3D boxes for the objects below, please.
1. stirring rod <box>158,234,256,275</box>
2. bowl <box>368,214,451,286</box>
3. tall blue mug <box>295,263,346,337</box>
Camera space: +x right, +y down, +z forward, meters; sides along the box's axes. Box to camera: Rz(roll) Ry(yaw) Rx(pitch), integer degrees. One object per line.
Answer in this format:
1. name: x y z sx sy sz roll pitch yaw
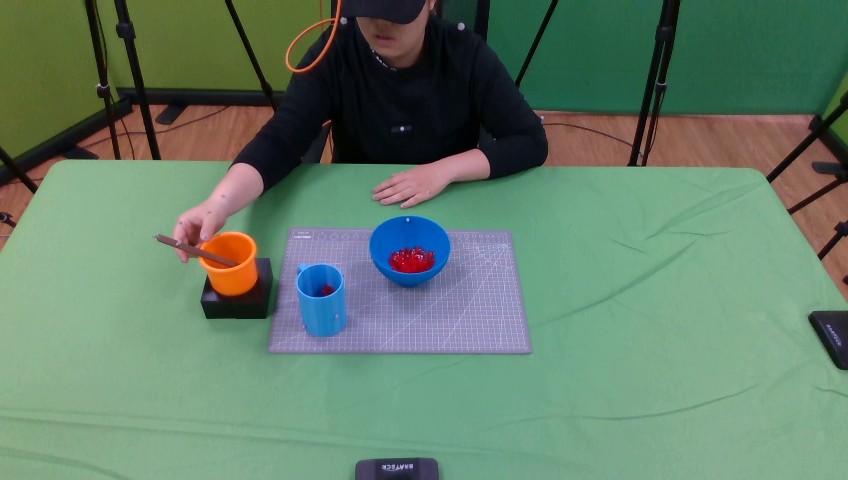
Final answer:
1. stirring rod: -0.353 0.025 0.999 0.177 0.006 0.014 27 29 -40
2. bowl: -0.027 0.031 1.122 0.151 0.077 0.150 2 46 -2
3. tall blue mug: -0.187 0.096 1.027 0.107 0.108 0.077 21 49 16
